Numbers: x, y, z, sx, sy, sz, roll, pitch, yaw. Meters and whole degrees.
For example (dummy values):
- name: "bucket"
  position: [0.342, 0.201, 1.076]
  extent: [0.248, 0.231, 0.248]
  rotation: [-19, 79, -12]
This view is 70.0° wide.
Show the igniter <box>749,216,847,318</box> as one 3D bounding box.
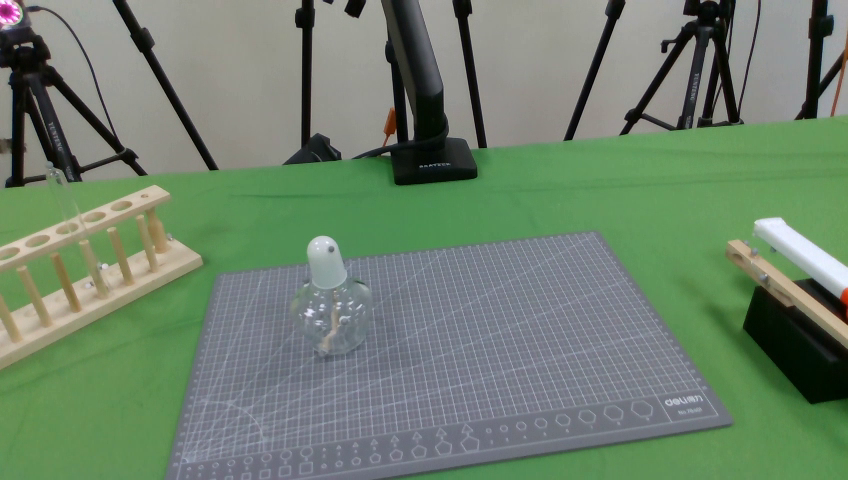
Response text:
- name: "igniter"
  position: [0.376, 0.050, 0.519]
  extent: [0.057, 0.025, 0.273]
  rotation: [-8, 31, -6]

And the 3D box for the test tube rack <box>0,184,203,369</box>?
- name: "test tube rack"
  position: [-0.363, 0.034, 0.626]
  extent: [0.066, 0.086, 0.242]
  rotation: [25, 42, 34]

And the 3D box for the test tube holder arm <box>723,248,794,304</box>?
- name: "test tube holder arm"
  position: [0.313, 0.031, 0.564]
  extent: [0.015, 0.010, 0.087]
  rotation: [-16, 33, -8]

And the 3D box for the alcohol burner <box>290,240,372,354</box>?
- name: "alcohol burner"
  position: [-0.087, 0.047, 0.558]
  extent: [0.078, 0.120, 0.077]
  rotation: [0, 35, 1]

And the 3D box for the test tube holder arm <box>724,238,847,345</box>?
- name: "test tube holder arm"
  position: [0.323, 0.048, 0.524]
  extent: [0.015, 0.013, 0.176]
  rotation: [-16, 33, -8]

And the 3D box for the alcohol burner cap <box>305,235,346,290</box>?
- name: "alcohol burner cap"
  position: [-0.089, 0.017, 0.539]
  extent: [0.034, 0.048, 0.033]
  rotation: [-3, 38, 3]

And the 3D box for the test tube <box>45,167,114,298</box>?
- name: "test tube"
  position: [-0.340, -0.004, 0.600]
  extent: [0.017, 0.151, 0.017]
  rotation: [-2, 35, 2]
